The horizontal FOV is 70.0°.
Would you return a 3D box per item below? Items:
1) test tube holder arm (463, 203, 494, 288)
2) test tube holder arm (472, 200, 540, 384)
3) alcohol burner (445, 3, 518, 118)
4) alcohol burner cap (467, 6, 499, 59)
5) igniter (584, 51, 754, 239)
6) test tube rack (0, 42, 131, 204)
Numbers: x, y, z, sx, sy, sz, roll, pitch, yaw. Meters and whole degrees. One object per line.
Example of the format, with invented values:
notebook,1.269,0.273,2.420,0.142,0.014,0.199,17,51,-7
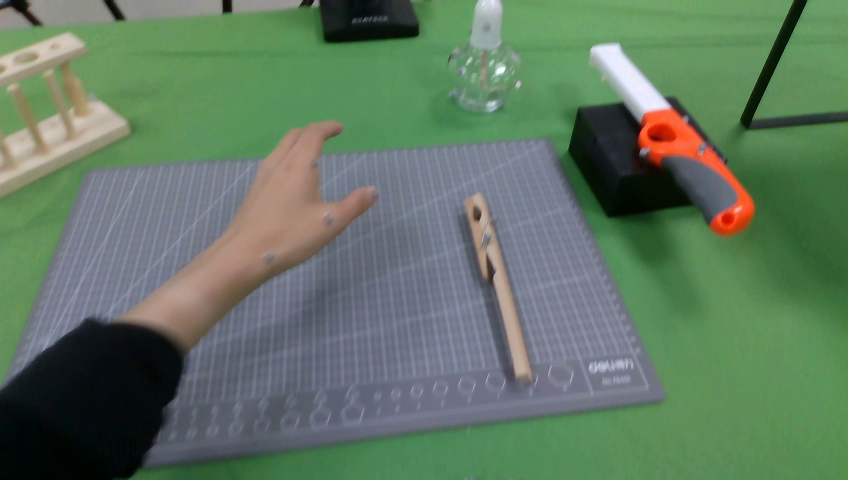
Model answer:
test tube holder arm,0.048,0.003,0.508,0.010,0.015,0.087,-31,45,18
test tube holder arm,0.061,0.033,0.476,0.013,0.015,0.176,-31,45,18
alcohol burner,0.061,-0.189,0.632,0.078,0.120,0.077,1,48,0
alcohol burner cap,0.060,-0.211,0.609,0.034,0.048,0.033,0,46,0
igniter,0.208,-0.097,0.540,0.057,0.025,0.273,-9,45,-6
test tube rack,-0.400,-0.082,0.534,0.066,0.086,0.242,33,53,27
